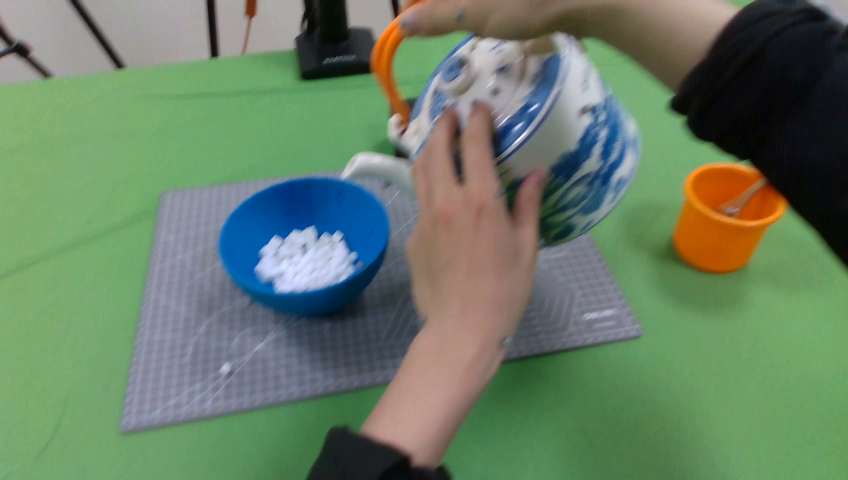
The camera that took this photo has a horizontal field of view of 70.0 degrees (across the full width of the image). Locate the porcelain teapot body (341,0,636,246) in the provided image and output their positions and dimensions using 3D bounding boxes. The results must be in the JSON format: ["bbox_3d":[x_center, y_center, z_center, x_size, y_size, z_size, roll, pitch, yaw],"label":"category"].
[{"bbox_3d":[0.034,-0.083,0.481,0.205,0.228,0.143,-32,48,27],"label":"porcelain teapot body"}]

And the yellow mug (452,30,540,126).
[{"bbox_3d":[0.076,-0.182,0.699,0.099,0.064,0.130,17,49,17],"label":"yellow mug"}]

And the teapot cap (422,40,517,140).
[{"bbox_3d":[0.029,-0.112,0.442,0.085,0.044,0.084,-22,55,35],"label":"teapot cap"}]

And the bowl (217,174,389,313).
[{"bbox_3d":[-0.105,0.015,0.562,0.151,0.077,0.150,0,44,1],"label":"bowl"}]

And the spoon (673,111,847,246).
[{"bbox_3d":[0.327,-0.058,0.583,0.022,0.194,0.041,28,30,-36],"label":"spoon"}]
